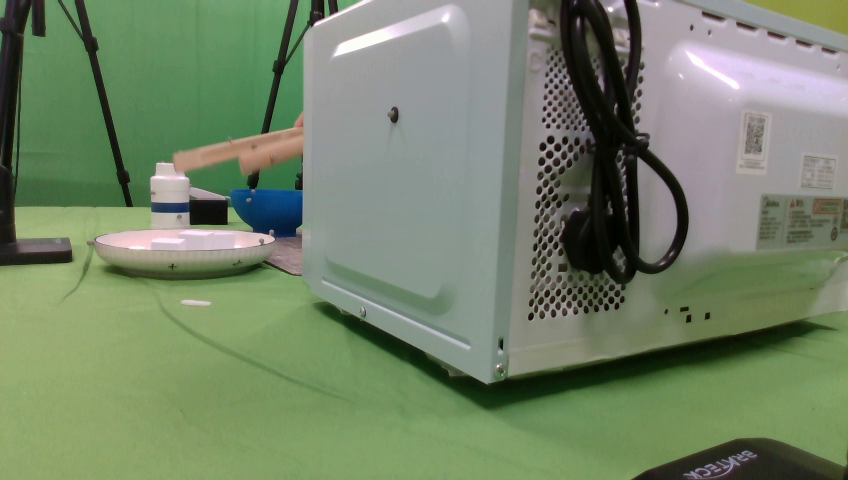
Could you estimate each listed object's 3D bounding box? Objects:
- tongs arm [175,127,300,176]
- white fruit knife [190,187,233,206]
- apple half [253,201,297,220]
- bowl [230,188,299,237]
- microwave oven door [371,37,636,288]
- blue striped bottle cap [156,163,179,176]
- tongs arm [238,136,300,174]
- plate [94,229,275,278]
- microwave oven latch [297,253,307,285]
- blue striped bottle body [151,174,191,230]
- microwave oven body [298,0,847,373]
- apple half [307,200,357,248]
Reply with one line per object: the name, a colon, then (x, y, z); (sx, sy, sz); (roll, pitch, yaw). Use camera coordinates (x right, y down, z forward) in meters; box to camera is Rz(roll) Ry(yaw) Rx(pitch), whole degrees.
tongs arm: (-0.240, -0.154, 0.964); (0.050, 0.026, 0.385); (-1, 17, 21)
white fruit knife: (-0.413, -0.081, 1.270); (0.208, 0.027, 0.016); (18, 14, -41)
apple half: (-0.263, -0.053, 1.066); (0.081, 0.033, 0.081); (0, 8, 0)
bowl: (-0.264, -0.048, 1.065); (0.151, 0.077, 0.151); (3, 8, 0)
microwave oven door: (0.109, -0.080, 0.686); (0.358, 0.243, 0.039); (-2, 9, -33)
blue striped bottle cap: (-0.438, -0.122, 1.045); (0.044, 0.020, 0.044); (4, 6, 0)
tongs arm: (-0.187, -0.154, 0.944); (0.028, 0.028, 0.388); (-6, 16, 17)
plate: (-0.291, 0.016, 0.750); (0.208, 0.039, 0.207); (2, 7, 0)
microwave oven latch: (-0.082, 0.027, 0.582); (0.079, 0.029, 0.030); (-1, 7, -33)
blue striped bottle body: (-0.439, -0.071, 1.052); (0.063, 0.120, 0.063); (2, 8, 0)
microwave oven body: (0.151, -0.055, 0.543); (0.444, 0.260, 0.324); (-1, 7, -33)
apple half: (-0.135, -0.024, 0.941); (0.053, 0.074, 0.081); (12, 8, 39)
